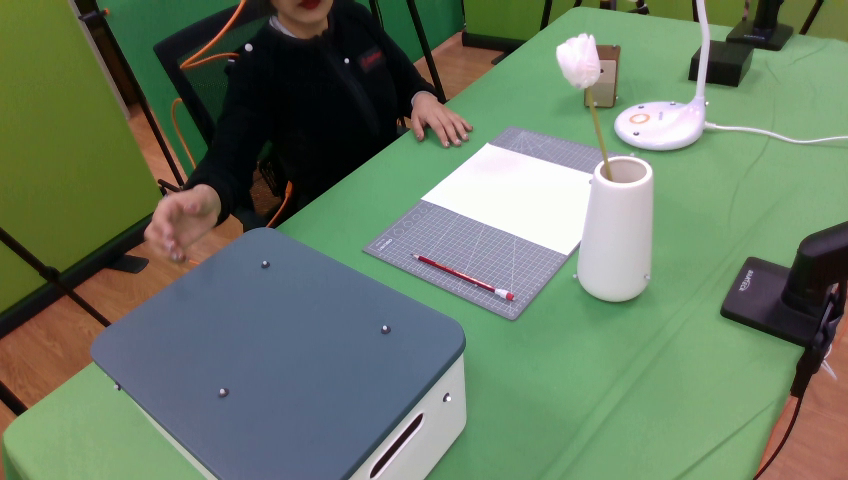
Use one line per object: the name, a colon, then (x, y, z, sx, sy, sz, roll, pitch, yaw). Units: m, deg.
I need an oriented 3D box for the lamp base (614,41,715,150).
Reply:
lamp base: (0.449, -0.277, 1.106, 0.179, 0.181, 0.160, 1, 41, 9)

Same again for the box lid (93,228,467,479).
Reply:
box lid: (-0.167, 0.110, 0.661, 0.368, 0.015, 0.264, 23, 49, 34)

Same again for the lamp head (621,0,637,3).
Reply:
lamp head: (0.319, -0.453, 0.962, 0.113, 0.123, 0.112, 20, 33, -13)

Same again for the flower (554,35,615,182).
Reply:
flower: (0.237, -0.083, 0.774, 0.044, 0.363, 0.038, -22, 26, 7)

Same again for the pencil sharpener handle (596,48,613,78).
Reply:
pencil sharpener handle: (0.383, -0.378, 1.276, 0.036, 0.068, 0.030, 2, 41, 22)

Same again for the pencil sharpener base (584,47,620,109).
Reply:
pencil sharpener base: (0.367, -0.336, 1.248, 0.061, 0.107, 0.076, 6, 42, 19)

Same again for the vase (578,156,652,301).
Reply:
vase: (0.261, -0.011, 0.812, 0.098, 0.201, 0.097, -4, 40, 4)

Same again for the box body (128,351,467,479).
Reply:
box body: (-0.155, 0.169, 0.707, 0.361, 0.161, 0.255, 23, 49, 33)

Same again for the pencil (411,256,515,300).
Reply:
pencil: (0.054, 0.054, 0.918, 0.192, 0.012, 0.012, 21, 48, 33)
